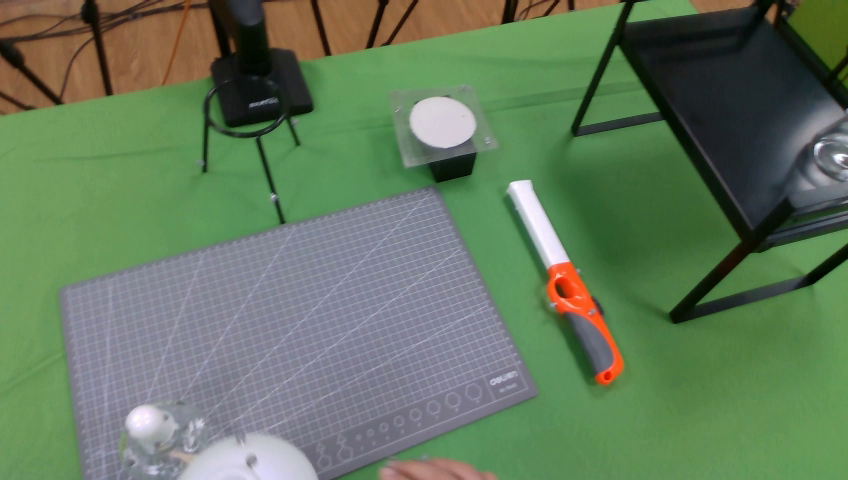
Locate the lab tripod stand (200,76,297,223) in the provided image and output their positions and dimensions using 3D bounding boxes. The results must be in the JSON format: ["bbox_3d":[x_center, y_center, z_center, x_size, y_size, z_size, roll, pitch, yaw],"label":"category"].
[{"bbox_3d":[-0.200,-0.110,0.714,0.148,0.132,0.147,4,59,-6],"label":"lab tripod stand"}]

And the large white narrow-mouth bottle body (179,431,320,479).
[{"bbox_3d":[-0.121,0.188,0.421,0.102,0.196,0.101,4,61,-6],"label":"large white narrow-mouth bottle body"}]

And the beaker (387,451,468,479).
[{"bbox_3d":[-0.005,0.241,0.544,0.084,0.101,0.073,-12,60,-12],"label":"beaker"}]

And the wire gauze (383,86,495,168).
[{"bbox_3d":[0.017,-0.151,0.779,0.122,0.011,0.124,-10,60,-12],"label":"wire gauze"}]

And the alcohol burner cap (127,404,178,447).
[{"bbox_3d":[-0.233,0.156,0.514,0.034,0.048,0.033,2,64,-4],"label":"alcohol burner cap"}]

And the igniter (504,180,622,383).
[{"bbox_3d":[0.163,0.040,0.725,0.057,0.025,0.274,-9,60,-24],"label":"igniter"}]

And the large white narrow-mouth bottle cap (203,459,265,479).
[{"bbox_3d":[-0.109,0.145,0.347,0.038,0.024,0.037,4,61,-7],"label":"large white narrow-mouth bottle cap"}]

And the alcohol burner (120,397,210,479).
[{"bbox_3d":[-0.237,0.174,0.546,0.078,0.120,0.077,4,57,-6],"label":"alcohol burner"}]

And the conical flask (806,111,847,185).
[{"bbox_3d":[0.439,-0.115,0.584,0.075,0.123,0.074,3,58,-4],"label":"conical flask"}]
